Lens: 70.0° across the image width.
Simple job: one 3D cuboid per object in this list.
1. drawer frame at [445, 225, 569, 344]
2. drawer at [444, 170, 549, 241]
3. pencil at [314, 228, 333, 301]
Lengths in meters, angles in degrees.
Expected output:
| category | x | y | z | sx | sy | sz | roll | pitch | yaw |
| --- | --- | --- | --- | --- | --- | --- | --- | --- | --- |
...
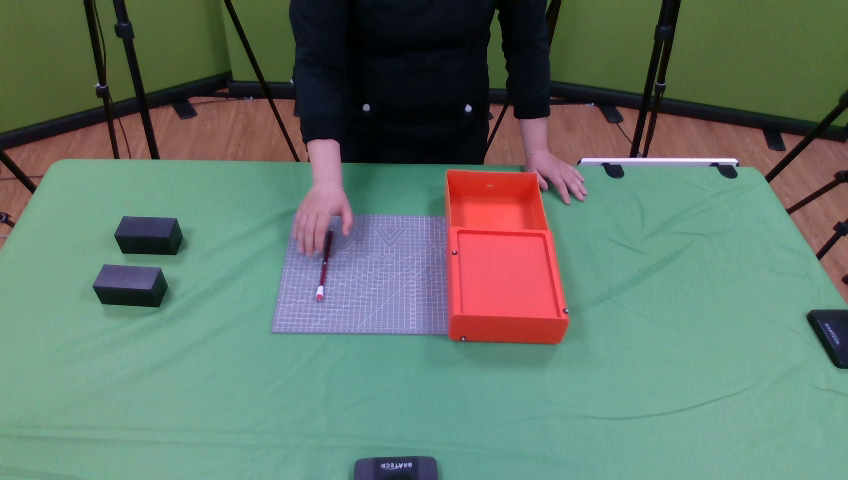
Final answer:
| category | x | y | z | sx | sy | sz | roll | pitch | yaw |
| --- | --- | --- | --- | --- | --- | --- | --- | --- | --- |
| drawer frame | 0.141 | 0.076 | 1.089 | 0.202 | 0.083 | 0.212 | 2 | 47 | -3 |
| drawer | 0.140 | -0.049 | 1.217 | 0.194 | 0.073 | 0.210 | 2 | 43 | -3 |
| pencil | -0.188 | 0.042 | 1.148 | 0.012 | 0.012 | 0.193 | 4 | 43 | -1 |
